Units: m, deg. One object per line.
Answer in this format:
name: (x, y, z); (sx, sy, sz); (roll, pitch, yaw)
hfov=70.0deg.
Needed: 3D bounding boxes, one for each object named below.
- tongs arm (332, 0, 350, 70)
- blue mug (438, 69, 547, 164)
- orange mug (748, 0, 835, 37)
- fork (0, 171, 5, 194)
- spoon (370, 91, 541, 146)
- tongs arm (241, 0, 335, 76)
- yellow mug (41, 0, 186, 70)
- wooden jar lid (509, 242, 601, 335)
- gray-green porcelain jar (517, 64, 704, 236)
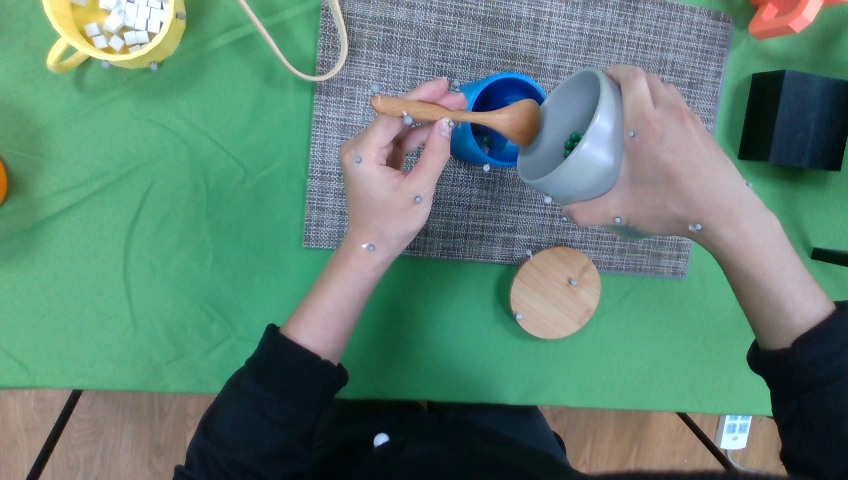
tongs arm: (-0.125, -0.344, 0.520); (0.028, 0.027, 0.390); (-22, 112, -17)
blue mug: (0.079, -0.109, 0.591); (0.117, 0.105, 0.082); (31, 92, -17)
orange mug: (0.402, -0.277, 0.640); (0.084, 0.100, 0.126); (29, 89, -16)
fork: (-0.437, -0.063, 0.461); (0.209, 0.018, 0.028); (11, 99, -58)
spoon: (0.033, -0.096, 0.463); (0.195, 0.021, 0.042); (-4, 108, -42)
tongs arm: (-0.199, -0.304, 0.508); (0.051, 0.026, 0.388); (-34, 113, -8)
yellow mug: (-0.272, -0.193, 0.518); (0.131, 0.063, 0.100); (-45, 107, 0)
wooden jar lid: (0.146, 0.054, 0.684); (0.108, 0.020, 0.109); (-3, 104, -11)
gray-green porcelain jar: (0.160, -0.069, 0.512); (0.127, 0.105, 0.106); (26, 94, -20)
